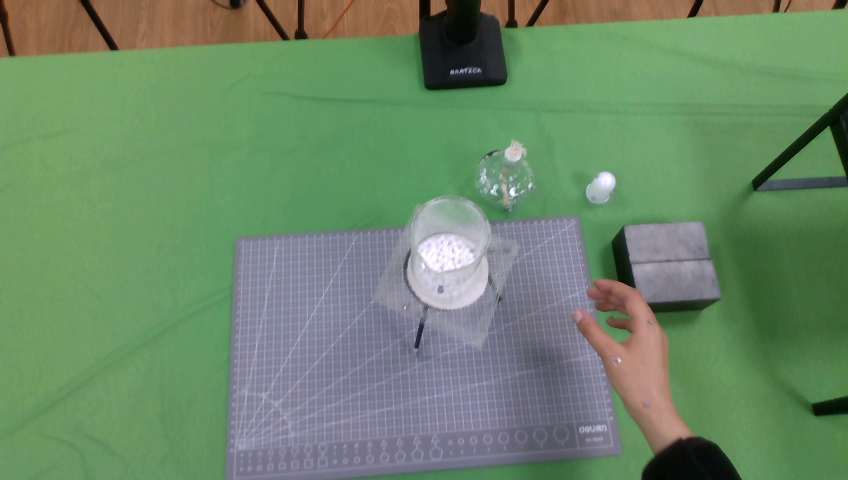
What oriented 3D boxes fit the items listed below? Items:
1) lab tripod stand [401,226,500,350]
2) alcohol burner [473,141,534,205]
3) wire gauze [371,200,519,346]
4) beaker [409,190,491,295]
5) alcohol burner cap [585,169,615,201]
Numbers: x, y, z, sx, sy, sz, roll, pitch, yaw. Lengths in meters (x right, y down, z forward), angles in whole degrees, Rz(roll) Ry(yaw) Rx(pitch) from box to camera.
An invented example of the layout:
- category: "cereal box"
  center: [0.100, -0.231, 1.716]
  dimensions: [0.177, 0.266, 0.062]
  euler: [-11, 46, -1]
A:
- category: "lab tripod stand"
  center: [0.024, 0.048, 0.695]
  dimensions: [0.148, 0.132, 0.147]
  euler: [1, 67, -2]
- category: "alcohol burner"
  center: [0.103, -0.092, 0.764]
  dimensions: [0.078, 0.120, 0.077]
  euler: [1, 69, -3]
- category: "wire gauze"
  center: [0.023, 0.030, 0.632]
  dimensions: [0.125, 0.011, 0.121]
  euler: [24, 71, 4]
- category: "beaker"
  center: [0.021, 0.010, 0.587]
  dimensions: [0.074, 0.101, 0.083]
  euler: [20, 69, 6]
- category: "alcohol burner cap"
  center: [0.235, -0.075, 0.801]
  dimensions: [0.034, 0.048, 0.033]
  euler: [0, 68, 0]
